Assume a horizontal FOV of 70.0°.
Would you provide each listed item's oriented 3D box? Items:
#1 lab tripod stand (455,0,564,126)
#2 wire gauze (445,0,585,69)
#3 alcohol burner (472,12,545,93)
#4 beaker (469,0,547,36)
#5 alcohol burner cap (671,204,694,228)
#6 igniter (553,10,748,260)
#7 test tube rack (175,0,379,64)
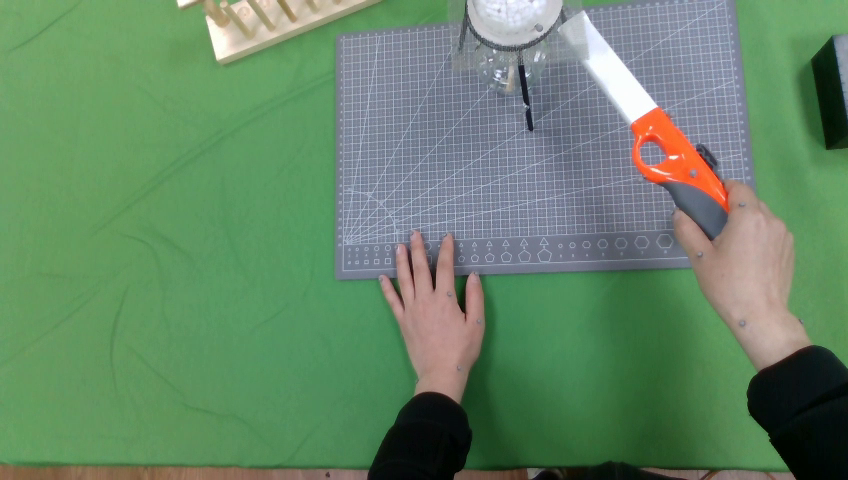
[{"bbox_3d":[0.093,-0.206,0.622,0.148,0.132,0.148,-1,81,9],"label":"lab tripod stand"},{"bbox_3d":[0.081,-0.218,0.558,0.125,0.011,0.121,-3,84,7],"label":"wire gauze"},{"bbox_3d":[0.087,-0.202,0.632,0.078,0.119,0.077,-1,80,8],"label":"alcohol burner"},{"bbox_3d":[0.067,-0.227,0.512,0.084,0.101,0.074,11,83,12],"label":"beaker"},{"bbox_3d":[0.270,-0.032,0.608,0.034,0.048,0.033,-2,80,10],"label":"alcohol burner cap"},{"bbox_3d":[0.202,-0.103,0.552,0.057,0.025,0.274,-33,69,11],"label":"igniter"},{"bbox_3d":[-0.159,-0.297,0.710,0.242,0.085,0.066,-19,78,7],"label":"test tube rack"}]
